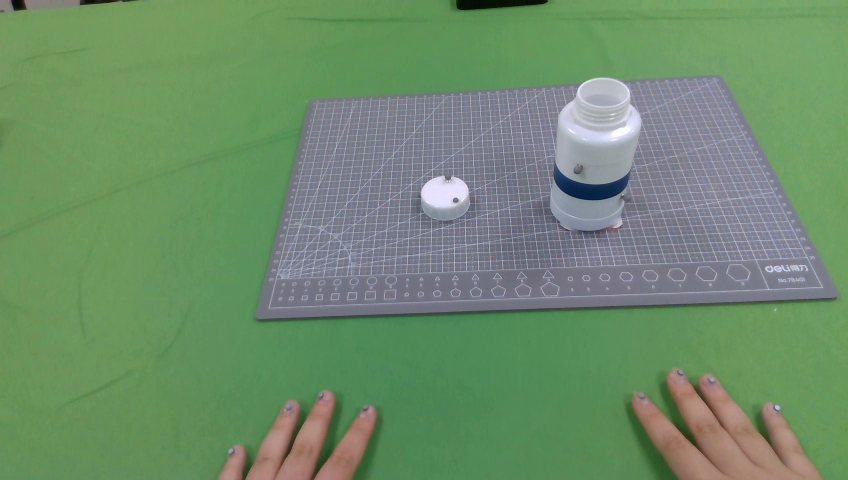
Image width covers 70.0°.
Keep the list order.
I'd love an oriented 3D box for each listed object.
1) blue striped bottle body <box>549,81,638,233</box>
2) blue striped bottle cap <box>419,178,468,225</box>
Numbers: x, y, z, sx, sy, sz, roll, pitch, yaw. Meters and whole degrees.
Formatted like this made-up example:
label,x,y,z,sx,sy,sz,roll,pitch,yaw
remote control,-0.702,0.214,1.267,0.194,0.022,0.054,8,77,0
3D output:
label,x,y,z,sx,sy,sz,roll,pitch,yaw
blue striped bottle body,0.137,-0.068,0.492,0.063,0.122,0.062,-3,48,4
blue striped bottle cap,0.017,-0.035,0.549,0.044,0.021,0.044,-2,46,3
